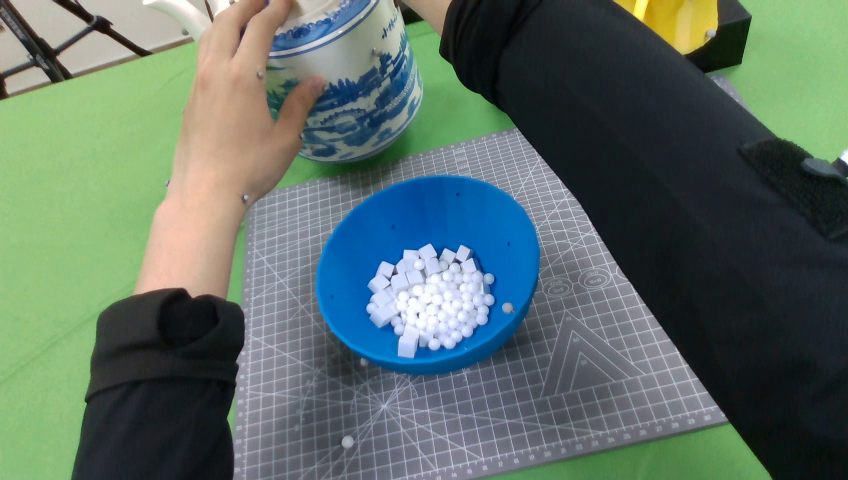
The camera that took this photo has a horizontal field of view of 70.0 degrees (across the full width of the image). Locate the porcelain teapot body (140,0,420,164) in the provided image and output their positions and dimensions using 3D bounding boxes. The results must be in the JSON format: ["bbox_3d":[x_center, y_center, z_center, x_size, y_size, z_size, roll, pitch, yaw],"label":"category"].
[{"bbox_3d":[-0.123,-0.174,0.503,0.205,0.227,0.144,-4,58,13],"label":"porcelain teapot body"}]

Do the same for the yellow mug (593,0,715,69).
[{"bbox_3d":[0.185,-0.195,0.497,0.099,0.064,0.130,15,61,25],"label":"yellow mug"}]

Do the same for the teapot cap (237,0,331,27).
[{"bbox_3d":[-0.105,-0.195,0.464,0.085,0.044,0.084,-8,57,13],"label":"teapot cap"}]

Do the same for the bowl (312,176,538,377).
[{"bbox_3d":[0.007,0.036,0.423,0.151,0.077,0.150,-7,52,10],"label":"bowl"}]
